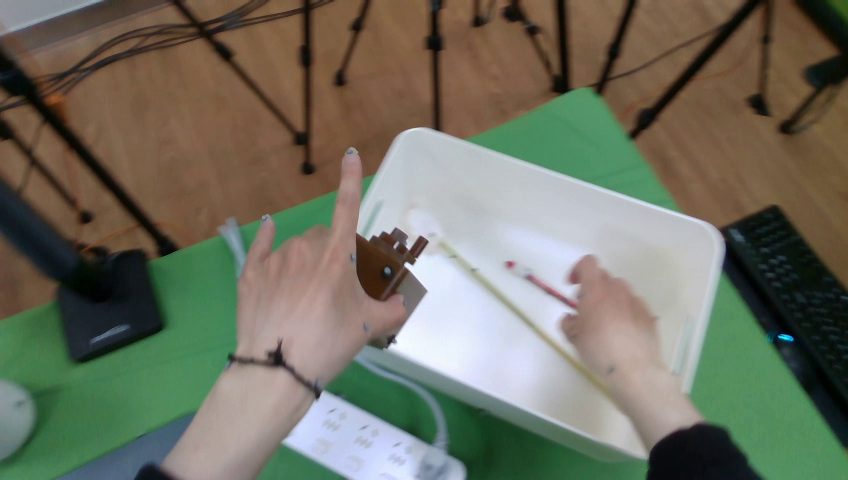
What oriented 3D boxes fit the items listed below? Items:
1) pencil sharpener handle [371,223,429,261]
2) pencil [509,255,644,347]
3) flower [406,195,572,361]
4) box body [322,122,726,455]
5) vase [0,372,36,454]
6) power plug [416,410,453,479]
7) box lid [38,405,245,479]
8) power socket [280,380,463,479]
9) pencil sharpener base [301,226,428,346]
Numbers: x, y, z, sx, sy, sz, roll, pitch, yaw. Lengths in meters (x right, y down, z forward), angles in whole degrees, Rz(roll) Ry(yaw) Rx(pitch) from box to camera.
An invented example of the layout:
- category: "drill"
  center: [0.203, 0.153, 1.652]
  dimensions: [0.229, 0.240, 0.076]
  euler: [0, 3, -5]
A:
- category: "pencil sharpener handle"
  center: [-0.016, -0.003, 0.509]
  dimensions: [0.035, 0.068, 0.030]
  euler: [33, 83, 23]
- category: "pencil"
  center: [0.188, 0.075, 0.752]
  dimensions: [0.193, 0.012, 0.012]
  euler: [35, 73, 14]
- category: "flower"
  center: [0.110, 0.077, 0.753]
  dimensions: [0.044, 0.038, 0.360]
  euler: [-46, 77, 6]
- category: "box body"
  center: [0.103, 0.059, 0.685]
  dimensions: [0.363, 0.161, 0.253]
  euler: [21, 69, 11]
- category: "vase"
  center: [-0.513, 0.174, 0.644]
  dimensions: [0.098, 0.201, 0.097]
  euler: [-1, 65, 2]
- category: "power plug"
  center: [0.021, 0.230, 0.662]
  dimensions: [0.035, 0.053, 0.072]
  euler: [35, 70, 20]
- category: "box lid"
  center: [-0.357, 0.369, 0.656]
  dimensions: [0.372, 0.015, 0.261]
  euler: [-26, 68, -8]
- category: "power socket"
  center: [-0.060, 0.234, 0.689]
  dimensions: [0.226, 0.033, 0.072]
  euler: [24, 70, 13]
- category: "pencil sharpener base"
  center: [-0.045, 0.040, 0.517]
  dimensions: [0.061, 0.108, 0.076]
  euler: [34, 84, 16]
